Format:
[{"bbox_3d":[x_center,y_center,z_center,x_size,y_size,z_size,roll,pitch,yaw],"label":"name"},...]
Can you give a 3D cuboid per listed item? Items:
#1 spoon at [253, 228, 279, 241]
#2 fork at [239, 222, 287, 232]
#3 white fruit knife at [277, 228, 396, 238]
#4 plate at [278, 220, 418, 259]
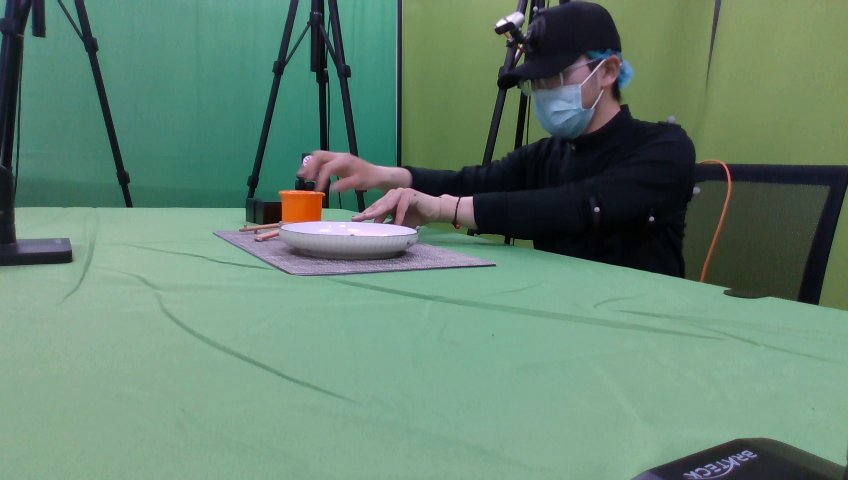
[{"bbox_3d":[-0.223,-0.018,1.061,0.041,0.021,0.195,23,17,29],"label":"spoon"},{"bbox_3d":[-0.240,-0.025,1.125,0.208,0.018,0.028,-1,13,-35],"label":"fork"},{"bbox_3d":[-0.155,-0.014,1.073,0.208,0.016,0.027,2,8,-13],"label":"white fruit knife"},{"bbox_3d":[-0.114,-0.002,0.914,0.209,0.038,0.209,2,7,0],"label":"plate"}]
